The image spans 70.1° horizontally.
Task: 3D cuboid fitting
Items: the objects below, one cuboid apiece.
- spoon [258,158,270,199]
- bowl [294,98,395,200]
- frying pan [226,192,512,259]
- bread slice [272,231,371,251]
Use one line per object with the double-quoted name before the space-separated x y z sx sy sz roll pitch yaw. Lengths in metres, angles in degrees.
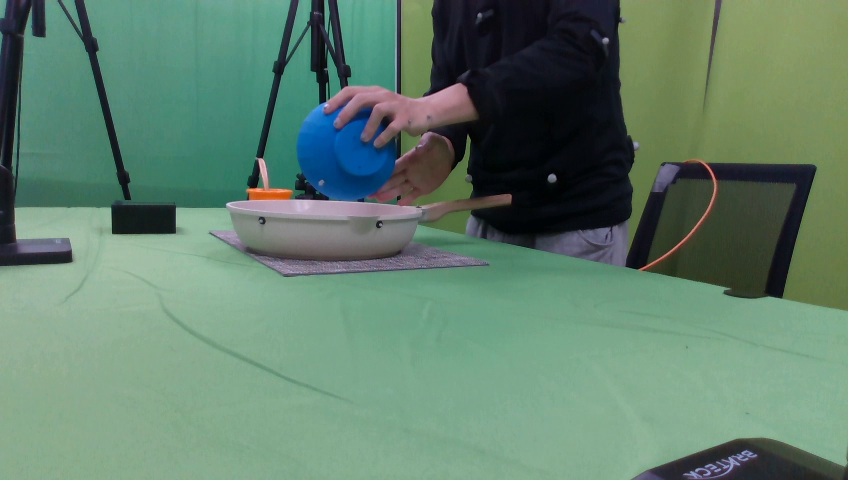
"spoon" -0.332 -0.107 1.269 0.042 0.021 0.193 1 52 -24
"bowl" -0.102 -0.130 0.862 0.152 0.151 0.076 -1 6 -24
"frying pan" -0.058 -0.041 0.975 0.490 0.102 0.305 -11 13 -26
"bread slice" -0.148 0.001 0.929 0.133 0.018 0.107 6 8 38
